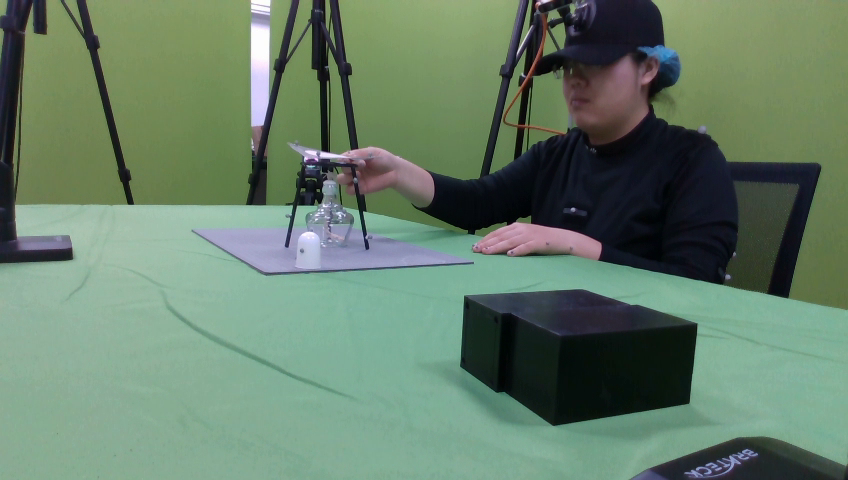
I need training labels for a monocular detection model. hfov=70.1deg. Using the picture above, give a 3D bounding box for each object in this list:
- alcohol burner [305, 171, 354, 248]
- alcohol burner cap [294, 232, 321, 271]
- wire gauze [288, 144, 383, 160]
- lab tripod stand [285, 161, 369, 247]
[{"bbox_3d":[-0.148,-0.048,0.949,0.078,0.119,0.078,1,6,0],"label":"alcohol burner"},{"bbox_3d":[-0.144,0.013,0.748,0.034,0.048,0.034,3,6,0],"label":"alcohol burner cap"},{"bbox_3d":[-0.140,-0.135,0.948,0.122,0.011,0.124,2,12,-29],"label":"wire gauze"},{"bbox_3d":[-0.151,-0.058,0.947,0.148,0.131,0.148,1,6,0],"label":"lab tripod stand"}]
